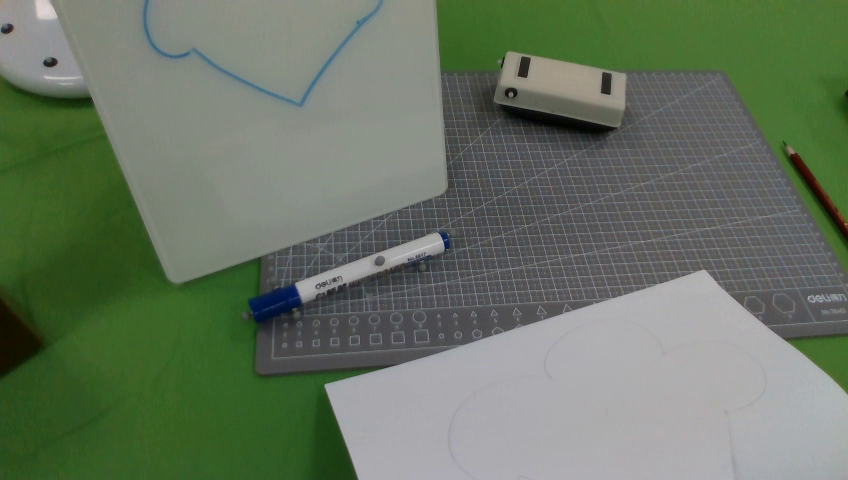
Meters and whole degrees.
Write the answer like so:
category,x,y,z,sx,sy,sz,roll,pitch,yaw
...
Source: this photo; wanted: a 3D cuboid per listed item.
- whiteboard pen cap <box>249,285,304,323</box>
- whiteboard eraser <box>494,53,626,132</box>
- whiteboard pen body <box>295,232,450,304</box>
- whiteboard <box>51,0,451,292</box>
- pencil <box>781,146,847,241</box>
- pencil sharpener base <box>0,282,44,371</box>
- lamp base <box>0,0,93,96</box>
category,x,y,z,sx,sy,sz,roll,pitch,yaw
whiteboard pen cap,-0.097,0.042,0.402,0.033,0.018,0.018,-21,59,-19
whiteboard eraser,0.122,-0.130,0.542,0.112,0.042,0.055,13,54,3
whiteboard pen body,-0.045,0.022,0.421,0.141,0.017,0.017,-20,58,-19
whiteboard,-0.116,-0.157,0.409,0.217,0.308,0.142,-20,39,-19
pencil,0.350,-0.013,0.507,0.012,0.012,0.192,-5,53,-10
pencil sharpener base,-0.279,0.038,0.334,0.061,0.108,0.076,38,59,20
lamp base,-0.305,-0.237,0.486,0.178,0.182,0.160,30,56,18
